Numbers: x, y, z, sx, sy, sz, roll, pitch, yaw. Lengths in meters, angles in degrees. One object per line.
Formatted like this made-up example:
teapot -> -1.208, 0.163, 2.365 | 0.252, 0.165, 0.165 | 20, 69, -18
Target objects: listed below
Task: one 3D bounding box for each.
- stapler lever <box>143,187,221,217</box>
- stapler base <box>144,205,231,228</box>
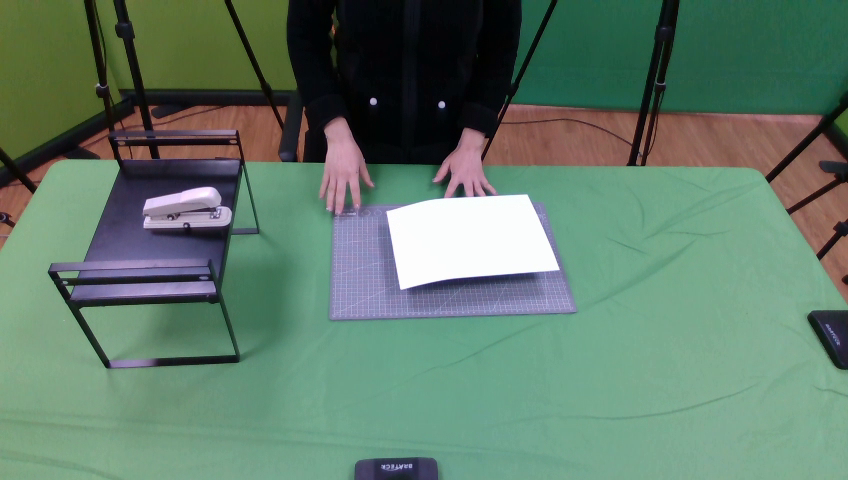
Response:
stapler lever -> -0.377, -0.059, 0.942 | 0.118, 0.040, 0.026 | -4, 44, -5
stapler base -> -0.376, -0.042, 0.960 | 0.131, 0.024, 0.041 | -4, 44, -5
